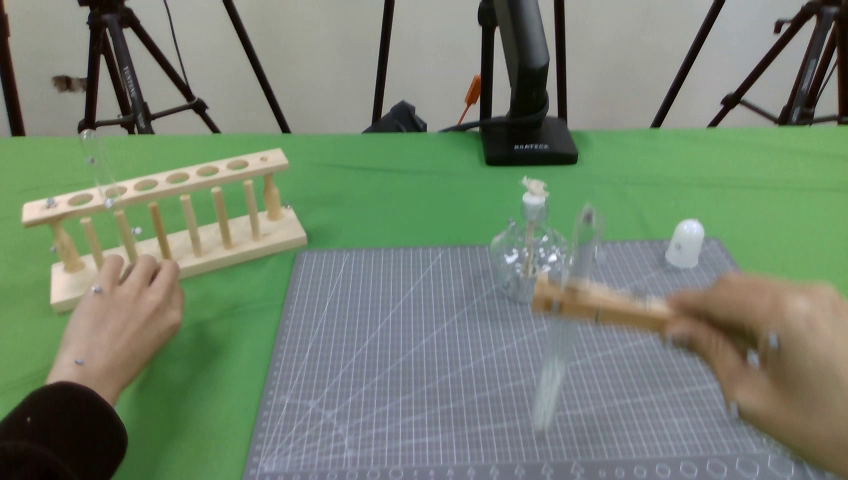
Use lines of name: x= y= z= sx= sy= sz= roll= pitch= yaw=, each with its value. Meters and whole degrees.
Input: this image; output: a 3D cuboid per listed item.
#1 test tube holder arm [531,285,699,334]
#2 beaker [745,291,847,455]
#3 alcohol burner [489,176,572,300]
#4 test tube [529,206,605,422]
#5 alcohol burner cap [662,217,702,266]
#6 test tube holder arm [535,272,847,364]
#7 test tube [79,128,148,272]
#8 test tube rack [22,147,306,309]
test tube holder arm: x=0.104 y=0.038 z=0.333 sx=0.087 sy=0.015 sz=0.010 roll=7 pitch=38 yaw=10
beaker: x=0.278 y=0.096 z=0.433 sx=0.074 sy=0.101 sz=0.083 roll=-20 pitch=40 yaw=-23
alcohol burner: x=0.099 y=-0.004 z=0.558 sx=0.078 sy=0.120 sz=0.077 roll=-1 pitch=36 yaw=1
test tube: x=0.080 y=0.050 z=0.351 sx=0.017 sy=0.151 sz=0.017 roll=4 pitch=30 yaw=-2
alcohol burner cap: x=0.262 y=-0.001 z=0.611 sx=0.034 sy=0.048 sz=0.033 roll=0 pitch=37 yaw=1
test tube holder arm: x=0.148 y=0.043 z=0.327 sx=0.178 sy=0.015 sz=0.013 roll=11 pitch=39 yaw=14
test tube: x=-0.282 y=-0.032 z=0.554 sx=0.017 sy=0.152 sz=0.017 roll=-1 pitch=36 yaw=1
test tube rack: x=-0.249 y=-0.017 z=0.607 sx=0.243 sy=0.086 sz=0.066 roll=-16 pitch=40 yaw=-20
